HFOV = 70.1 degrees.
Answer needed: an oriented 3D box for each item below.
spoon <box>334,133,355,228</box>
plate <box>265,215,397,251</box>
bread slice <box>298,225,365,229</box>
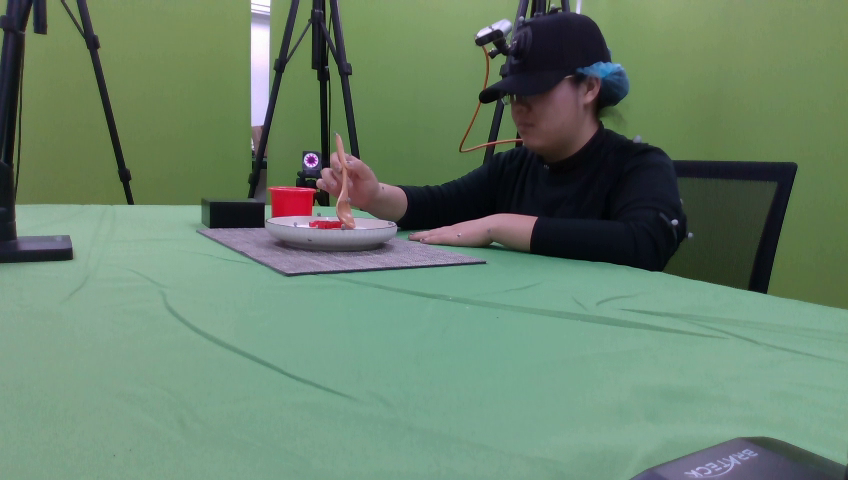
[{"bbox_3d":[-0.135,-0.102,1.007,0.021,0.193,0.042,-24,-32,30],"label":"spoon"},{"bbox_3d":[-0.147,-0.012,0.963,0.209,0.038,0.209,3,7,0],"label":"plate"},{"bbox_3d":[-0.154,-0.012,0.973,0.132,0.019,0.104,-1,7,-31],"label":"bread slice"}]
